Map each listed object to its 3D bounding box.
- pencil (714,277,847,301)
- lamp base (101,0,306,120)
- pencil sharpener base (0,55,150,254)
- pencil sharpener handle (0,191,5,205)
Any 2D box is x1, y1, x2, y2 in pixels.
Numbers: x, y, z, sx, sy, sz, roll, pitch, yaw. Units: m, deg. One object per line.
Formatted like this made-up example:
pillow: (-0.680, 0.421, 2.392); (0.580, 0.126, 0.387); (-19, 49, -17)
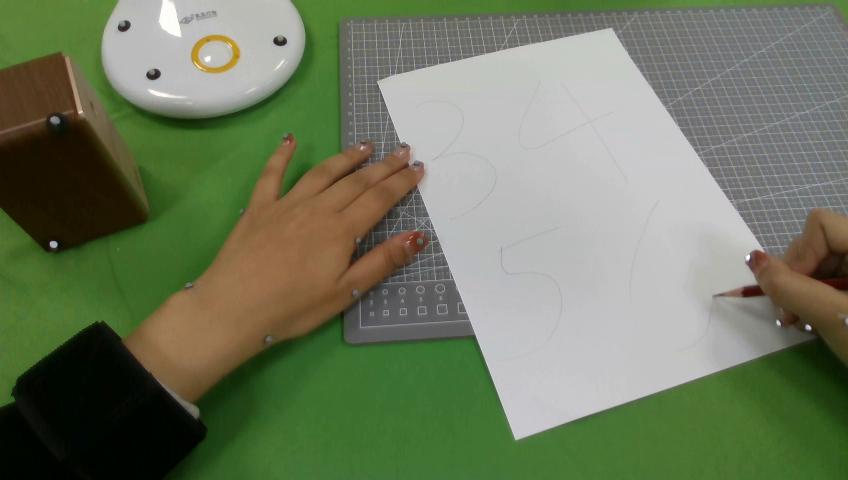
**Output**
pencil: (0.252, 0.021, 0.325); (0.012, 0.193, 0.012); (11, 73, -38)
lamp base: (-0.184, -0.208, 0.433); (0.160, 0.182, 0.177); (-32, 62, -19)
pencil sharpener base: (-0.232, -0.048, 0.379); (0.077, 0.108, 0.061); (-22, 62, -13)
pencil sharpener handle: (-0.278, -0.037, 0.356); (0.031, 0.068, 0.035); (-22, 65, -13)
